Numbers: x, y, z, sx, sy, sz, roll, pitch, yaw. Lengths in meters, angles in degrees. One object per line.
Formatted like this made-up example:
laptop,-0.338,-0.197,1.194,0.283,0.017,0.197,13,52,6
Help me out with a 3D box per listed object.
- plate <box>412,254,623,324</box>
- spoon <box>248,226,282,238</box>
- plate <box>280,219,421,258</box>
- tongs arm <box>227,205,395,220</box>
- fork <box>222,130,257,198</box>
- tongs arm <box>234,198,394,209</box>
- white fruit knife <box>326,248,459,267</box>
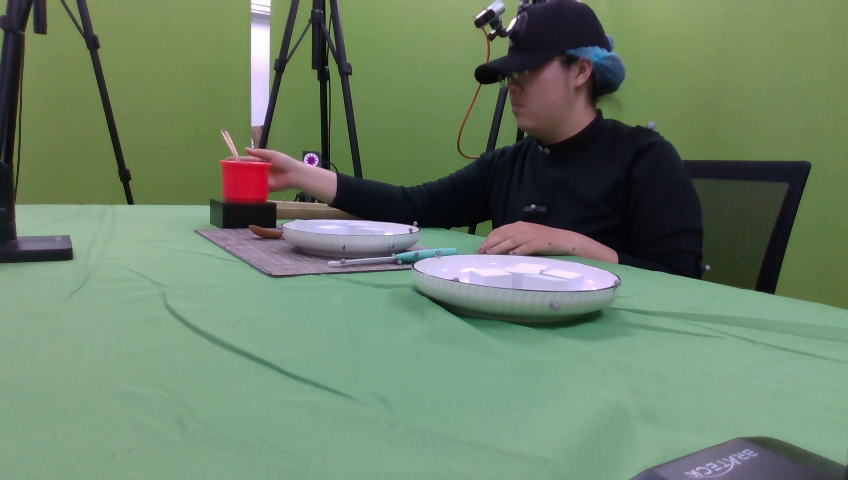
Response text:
plate,0.090,0.047,0.609,0.209,0.038,0.209,2,7,0
spoon,-0.198,-0.015,1.024,0.195,0.021,0.041,-2,-9,-30
plate,-0.108,-0.002,0.902,0.208,0.039,0.207,3,7,0
tongs arm,-0.247,-0.062,1.382,0.389,0.028,0.028,0,5,-21
fork,-0.368,-0.152,1.193,0.028,0.018,0.206,-9,54,-30
tongs arm,-0.263,-0.076,1.460,0.386,0.026,0.050,3,8,-8
white fruit knife,-0.035,0.026,0.807,0.208,0.016,0.027,-4,-19,-34
